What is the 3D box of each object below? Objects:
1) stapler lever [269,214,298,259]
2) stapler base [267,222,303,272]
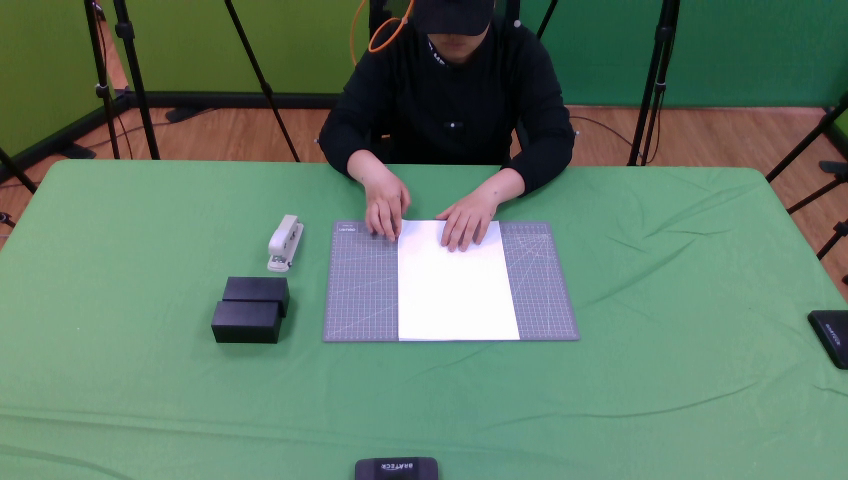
[{"bbox_3d":[-0.268,-0.014,1.154,0.027,0.040,0.117,8,44,0],"label":"stapler lever"},{"bbox_3d":[-0.269,0.006,1.170,0.041,0.024,0.130,8,44,0],"label":"stapler base"}]
